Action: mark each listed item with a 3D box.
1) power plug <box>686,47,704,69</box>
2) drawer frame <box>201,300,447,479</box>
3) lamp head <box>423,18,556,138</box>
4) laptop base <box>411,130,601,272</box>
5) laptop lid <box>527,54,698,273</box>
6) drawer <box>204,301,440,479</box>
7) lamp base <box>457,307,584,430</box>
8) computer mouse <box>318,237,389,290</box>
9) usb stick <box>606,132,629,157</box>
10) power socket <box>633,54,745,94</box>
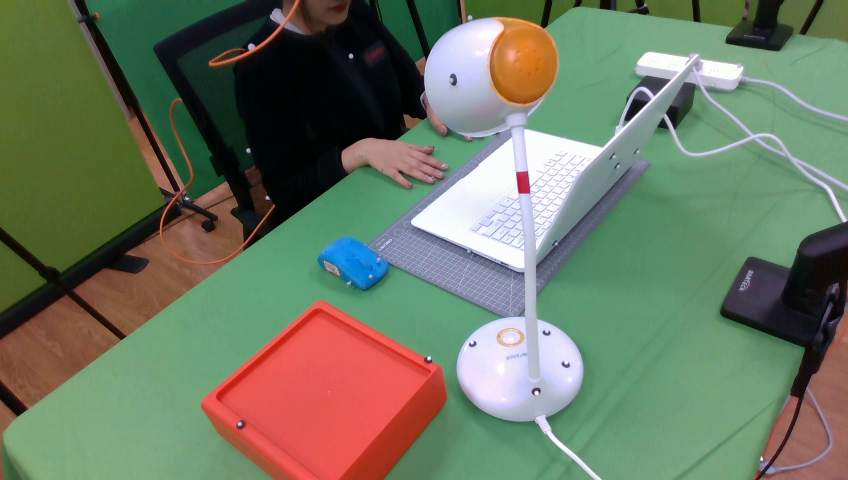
[{"bbox_3d":[0.564,-0.384,1.247,0.035,0.073,0.052,22,71,15],"label":"power plug"},{"bbox_3d":[-0.117,0.193,0.733,0.212,0.083,0.202,23,48,32],"label":"drawer frame"},{"bbox_3d":[0.069,-0.151,0.563,0.113,0.113,0.122,-21,18,-14],"label":"lamp head"},{"bbox_3d":[0.175,-0.083,1.054,0.233,0.023,0.355,22,49,36],"label":"laptop base"},{"bbox_3d":[0.281,-0.113,0.896,0.013,0.242,0.358,38,55,17],"label":"laptop lid"},{"bbox_3d":[-0.119,0.193,0.735,0.210,0.073,0.195,23,49,32],"label":"drawer"},{"bbox_3d":[0.115,0.108,0.713,0.161,0.181,0.178,-17,43,-8],"label":"lamp base"},{"bbox_3d":[-0.113,0.033,0.959,0.116,0.041,0.063,27,51,31],"label":"computer mouse"},{"bbox_3d":[0.353,-0.174,1.109,0.021,0.027,0.059,23,49,32],"label":"usb stick"},{"bbox_3d":[0.563,-0.358,1.295,0.225,0.033,0.072,21,50,30],"label":"power socket"}]
